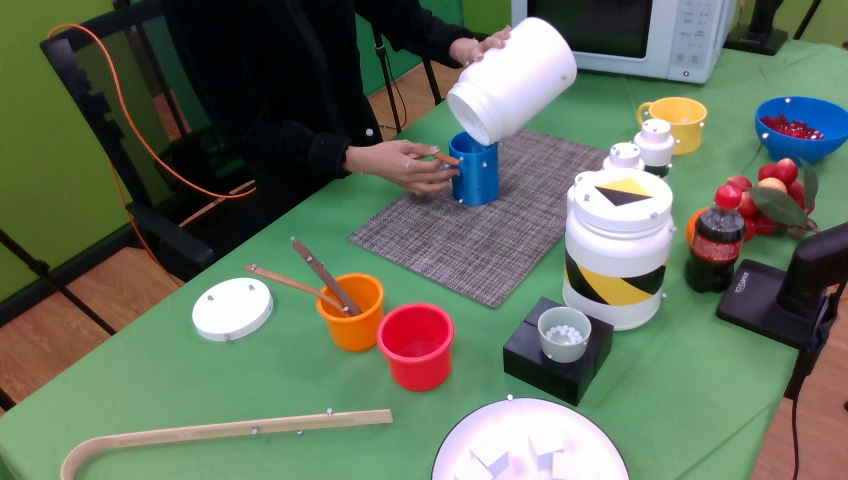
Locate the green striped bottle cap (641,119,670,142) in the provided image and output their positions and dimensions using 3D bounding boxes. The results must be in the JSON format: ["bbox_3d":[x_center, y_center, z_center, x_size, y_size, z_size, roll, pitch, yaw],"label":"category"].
[{"bbox_3d":[0.371,-0.175,0.968,0.044,0.020,0.044,-5,42,5],"label":"green striped bottle cap"}]

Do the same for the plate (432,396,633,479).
[{"bbox_3d":[0.112,0.261,0.634,0.209,0.038,0.208,-5,40,4],"label":"plate"}]

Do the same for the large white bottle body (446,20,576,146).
[{"bbox_3d":[0.139,-0.251,0.984,0.185,0.131,0.129,-40,47,-7],"label":"large white bottle body"}]

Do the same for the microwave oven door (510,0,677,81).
[{"bbox_3d":[0.354,-0.478,1.290,0.353,0.245,0.039,15,45,25],"label":"microwave oven door"}]

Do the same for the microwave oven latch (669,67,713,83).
[{"bbox_3d":[0.556,-0.349,1.261,0.078,0.029,0.030,16,46,27],"label":"microwave oven latch"}]

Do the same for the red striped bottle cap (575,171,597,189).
[{"bbox_3d":[0.242,-0.081,0.876,0.044,0.018,0.044,-5,44,5],"label":"red striped bottle cap"}]

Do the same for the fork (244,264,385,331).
[{"bbox_3d":[-0.142,0.078,0.806,0.209,0.018,0.028,30,33,-23],"label":"fork"}]

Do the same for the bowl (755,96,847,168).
[{"bbox_3d":[0.645,-0.177,1.041,0.151,0.077,0.150,-5,40,4],"label":"bowl"}]

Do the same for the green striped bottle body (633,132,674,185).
[{"bbox_3d":[0.376,-0.135,1.001,0.063,0.120,0.063,-5,40,5],"label":"green striped bottle body"}]

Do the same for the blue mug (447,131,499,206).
[{"bbox_3d":[0.089,-0.135,1.051,0.082,0.106,0.116,2,42,12],"label":"blue mug"}]

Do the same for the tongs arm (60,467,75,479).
[{"bbox_3d":[-0.239,0.302,0.649,0.386,0.028,0.028,6,50,16],"label":"tongs arm"}]

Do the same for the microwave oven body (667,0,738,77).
[{"bbox_3d":[0.462,-0.552,1.369,0.439,0.261,0.326,15,45,26],"label":"microwave oven body"}]

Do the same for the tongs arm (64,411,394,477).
[{"bbox_3d":[-0.228,0.241,0.715,0.385,0.026,0.050,-5,44,4],"label":"tongs arm"}]

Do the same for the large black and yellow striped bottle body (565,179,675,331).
[{"bbox_3d":[0.254,0.014,0.793,0.131,0.185,0.130,-5,40,4],"label":"large black and yellow striped bottle body"}]

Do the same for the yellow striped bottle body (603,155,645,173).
[{"bbox_3d":[0.314,-0.091,0.957,0.063,0.121,0.062,-4,40,4],"label":"yellow striped bottle body"}]

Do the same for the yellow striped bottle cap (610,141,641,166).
[{"bbox_3d":[0.309,-0.131,0.925,0.044,0.019,0.044,-4,46,5],"label":"yellow striped bottle cap"}]

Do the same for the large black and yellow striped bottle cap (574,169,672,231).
[{"bbox_3d":[0.242,-0.051,0.738,0.115,0.019,0.114,-4,37,3],"label":"large black and yellow striped bottle cap"}]

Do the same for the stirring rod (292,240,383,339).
[{"bbox_3d":[-0.118,0.068,0.825,0.176,0.006,0.014,48,59,-3],"label":"stirring rod"}]

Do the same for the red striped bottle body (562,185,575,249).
[{"bbox_3d":[0.246,-0.041,0.910,0.063,0.120,0.062,0,38,1],"label":"red striped bottle body"}]

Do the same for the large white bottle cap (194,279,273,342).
[{"bbox_3d":[-0.284,0.103,0.902,0.115,0.018,0.114,-4,40,4],"label":"large white bottle cap"}]

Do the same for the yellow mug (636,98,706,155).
[{"bbox_3d":[0.453,-0.217,1.128,0.100,0.064,0.129,-34,46,-27],"label":"yellow mug"}]

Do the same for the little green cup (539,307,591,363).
[{"bbox_3d":[0.167,0.114,0.721,0.061,0.039,0.061,-4,43,4],"label":"little green cup"}]

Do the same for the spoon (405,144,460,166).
[{"bbox_3d":[0.014,-0.141,1.008,0.042,0.022,0.192,-32,21,-12],"label":"spoon"}]
